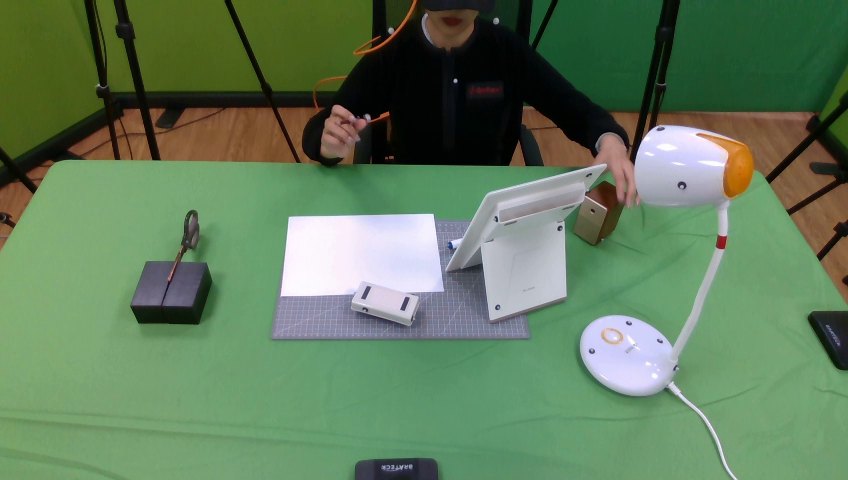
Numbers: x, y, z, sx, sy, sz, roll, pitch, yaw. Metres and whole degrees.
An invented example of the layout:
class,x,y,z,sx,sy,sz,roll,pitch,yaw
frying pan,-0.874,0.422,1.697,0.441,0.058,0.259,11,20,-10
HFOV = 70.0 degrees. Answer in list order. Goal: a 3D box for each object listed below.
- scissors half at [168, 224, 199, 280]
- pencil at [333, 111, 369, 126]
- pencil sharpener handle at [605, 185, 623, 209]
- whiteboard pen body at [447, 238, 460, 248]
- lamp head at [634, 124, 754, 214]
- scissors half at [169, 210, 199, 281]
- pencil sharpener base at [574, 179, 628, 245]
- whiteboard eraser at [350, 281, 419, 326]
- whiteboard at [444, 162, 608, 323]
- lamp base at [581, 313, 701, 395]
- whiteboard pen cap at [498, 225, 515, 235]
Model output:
class,x,y,z,sx,sy,sz,roll,pitch,yaw
scissors half,-0.441,0.023,1.111,0.013,0.040,0.174,7,29,-6
pencil,-0.141,-0.236,1.181,0.012,0.012,0.193,14,20,10
pencil sharpener handle,0.390,-0.091,1.235,0.030,0.068,0.036,-34,67,-31
whiteboard pen body,0.112,-0.005,1.203,0.141,0.017,0.017,-14,49,-18
lamp head,0.351,-0.089,0.775,0.112,0.113,0.122,-30,30,-28
scissors half,-0.438,0.007,1.098,0.013,0.040,0.174,3,47,-3
pencil sharpener base,0.355,-0.057,1.217,0.076,0.107,0.061,-33,56,-31
whiteboard eraser,-0.069,0.113,1.065,0.112,0.042,0.055,14,46,9
whiteboard,0.186,0.025,1.029,0.217,0.306,0.143,-14,68,-17
lamp base,0.361,0.144,0.972,0.178,0.181,0.160,34,53,23
whiteboard pen cap,0.166,-0.019,1.222,0.033,0.018,0.018,-14,49,-19
